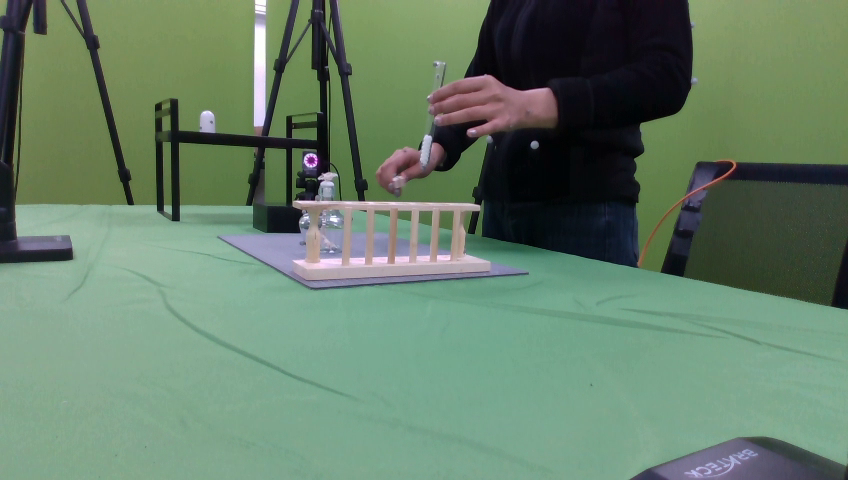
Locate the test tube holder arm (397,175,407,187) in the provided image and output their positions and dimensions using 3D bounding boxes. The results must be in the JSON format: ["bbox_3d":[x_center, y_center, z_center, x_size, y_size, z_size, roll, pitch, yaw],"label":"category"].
[{"bbox_3d":[-0.038,-0.099,1.014,0.010,0.015,0.087,-8,10,-6],"label":"test tube holder arm"}]

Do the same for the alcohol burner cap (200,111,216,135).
[{"bbox_3d":[-0.448,-0.243,1.255,0.034,0.048,0.034,3,7,0],"label":"alcohol burner cap"}]

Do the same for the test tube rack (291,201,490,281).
[{"bbox_3d":[-0.035,-0.002,0.745,0.243,0.085,0.066,-1,8,-28],"label":"test tube rack"}]

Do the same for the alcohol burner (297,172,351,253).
[{"bbox_3d":[-0.146,-0.040,0.894,0.078,0.119,0.078,5,7,0],"label":"alcohol burner"}]

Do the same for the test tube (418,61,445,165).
[{"bbox_3d":[0.011,-0.183,0.879,0.017,0.150,0.017,10,15,-2],"label":"test tube"}]

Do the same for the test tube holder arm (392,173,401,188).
[{"bbox_3d":[-0.049,-0.106,1.057,0.013,0.015,0.178,-8,10,-5],"label":"test tube holder arm"}]
